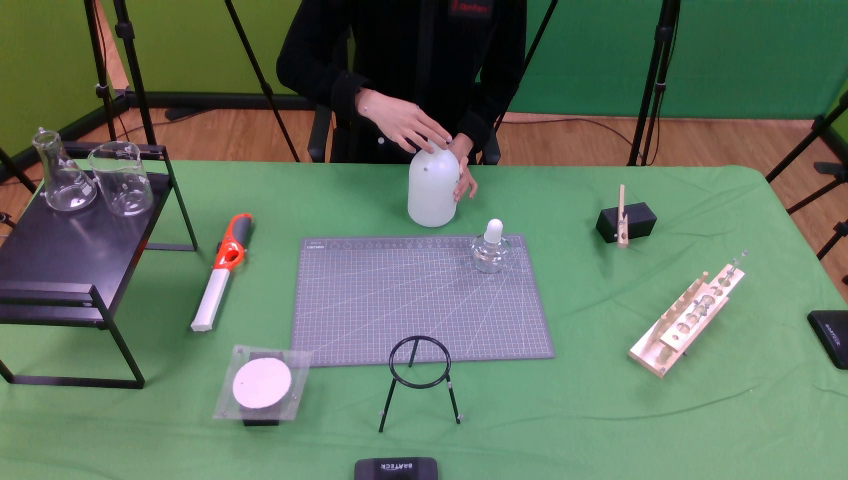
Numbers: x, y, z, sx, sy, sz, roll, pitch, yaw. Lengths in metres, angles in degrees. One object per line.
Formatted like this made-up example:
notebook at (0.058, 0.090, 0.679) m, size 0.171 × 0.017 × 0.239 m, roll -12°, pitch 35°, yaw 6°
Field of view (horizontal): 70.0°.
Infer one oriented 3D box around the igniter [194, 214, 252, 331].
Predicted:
igniter at (-0.367, 0.050, 1.119) m, size 0.057 × 0.025 × 0.275 m, roll -4°, pitch 45°, yaw 7°

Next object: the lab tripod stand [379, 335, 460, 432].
lab tripod stand at (-0.011, 0.214, 0.911) m, size 0.148 × 0.132 × 0.147 m, roll 1°, pitch 45°, yaw 0°

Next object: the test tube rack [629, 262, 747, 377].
test tube rack at (0.464, 0.126, 1.060) m, size 0.242 × 0.085 × 0.066 m, roll -34°, pitch 56°, yaw -30°

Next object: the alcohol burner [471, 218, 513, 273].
alcohol burner at (0.128, 0.005, 1.132) m, size 0.078 × 0.120 × 0.077 m, roll 0°, pitch 47°, yaw 0°

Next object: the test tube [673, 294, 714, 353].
test tube at (0.428, 0.137, 0.978) m, size 0.017 × 0.151 × 0.017 m, roll 4°, pitch 47°, yaw -4°

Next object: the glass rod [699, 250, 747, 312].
glass rod at (0.500, 0.075, 1.021) m, size 0.008 × 0.201 × 0.008 m, roll 0°, pitch 55°, yaw 1°

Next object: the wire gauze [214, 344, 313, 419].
wire gauze at (-0.241, 0.213, 0.916) m, size 0.121 × 0.011 × 0.124 m, roll 5°, pitch 46°, yaw 1°

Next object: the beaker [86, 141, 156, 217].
beaker at (-0.467, -0.092, 0.950) m, size 0.084 × 0.101 × 0.073 m, roll 15°, pitch 47°, yaw 11°

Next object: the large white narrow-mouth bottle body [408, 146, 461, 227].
large white narrow-mouth bottle body at (0.022, -0.124, 1.198) m, size 0.102 × 0.195 × 0.101 m, roll 2°, pitch 46°, yaw -2°

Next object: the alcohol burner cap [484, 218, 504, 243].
alcohol burner cap at (0.130, -0.021, 1.106) m, size 0.034 × 0.048 × 0.033 m, roll 3°, pitch 51°, yaw -4°

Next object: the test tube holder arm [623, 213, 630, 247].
test tube holder arm at (0.393, -0.020, 1.179) m, size 0.010 × 0.015 × 0.087 m, roll 12°, pitch 46°, yaw 3°

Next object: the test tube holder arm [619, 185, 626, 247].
test tube holder arm at (0.397, -0.052, 1.210) m, size 0.013 × 0.015 × 0.177 m, roll 14°, pitch 46°, yaw 4°

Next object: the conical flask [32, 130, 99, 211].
conical flask at (-0.565, -0.110, 0.944) m, size 0.075 × 0.122 × 0.075 m, roll 2°, pitch 46°, yaw -2°

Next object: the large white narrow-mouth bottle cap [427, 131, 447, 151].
large white narrow-mouth bottle cap at (0.025, -0.186, 1.132) m, size 0.038 × 0.024 × 0.037 m, roll 2°, pitch 46°, yaw -2°
